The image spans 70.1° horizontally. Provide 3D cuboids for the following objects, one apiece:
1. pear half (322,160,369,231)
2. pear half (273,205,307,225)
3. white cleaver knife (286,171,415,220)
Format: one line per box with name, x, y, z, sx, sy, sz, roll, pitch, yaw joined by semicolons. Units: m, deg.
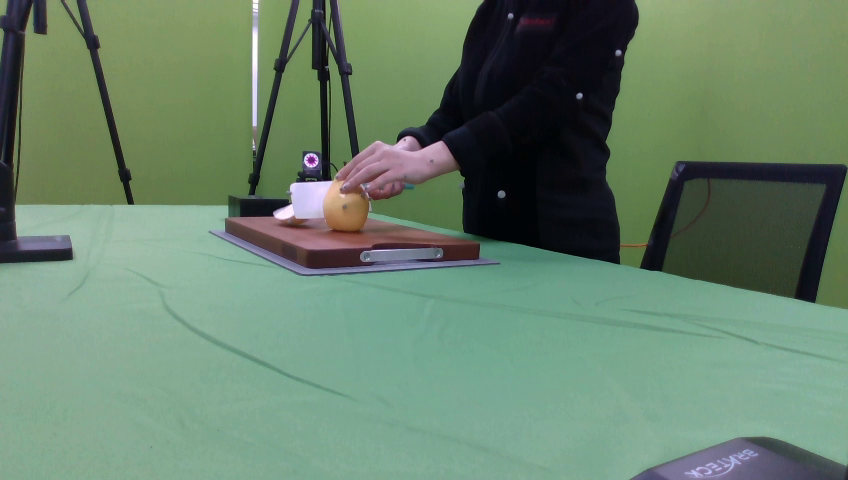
pear half;-0.115;-0.068;0.935;0.055;0.110;0.076;7;14;32
pear half;-0.207;-0.044;0.992;0.087;0.031;0.070;-18;19;29
white cleaver knife;-0.111;-0.075;0.999;0.021;0.066;0.288;-17;-2;41
